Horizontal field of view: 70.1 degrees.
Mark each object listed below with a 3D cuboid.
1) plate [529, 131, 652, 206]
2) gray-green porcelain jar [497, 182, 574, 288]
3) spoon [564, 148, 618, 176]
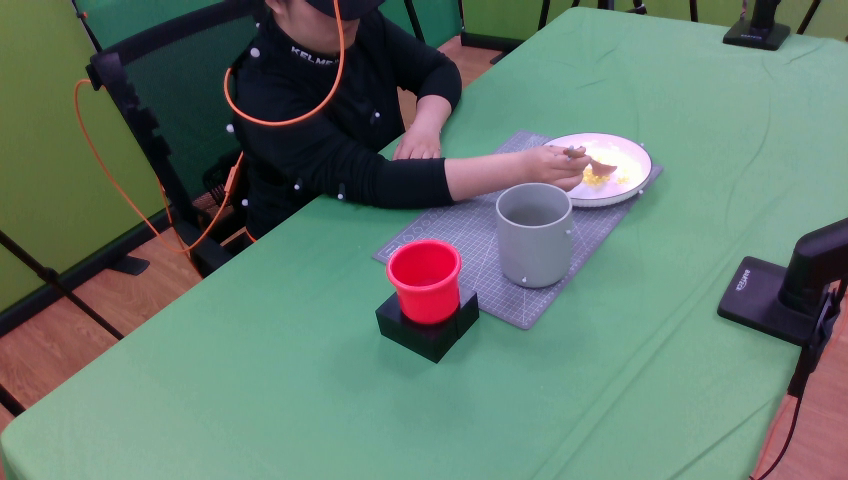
[{"bbox_3d":[0.287,-0.122,1.056,0.207,0.039,0.206,-5,40,5],"label":"plate"},{"bbox_3d":[0.161,-0.003,0.869,0.106,0.127,0.105,-5,40,5],"label":"gray-green porcelain jar"},{"bbox_3d":[0.262,-0.125,0.961,0.041,0.195,0.021,-16,74,35],"label":"spoon"}]
